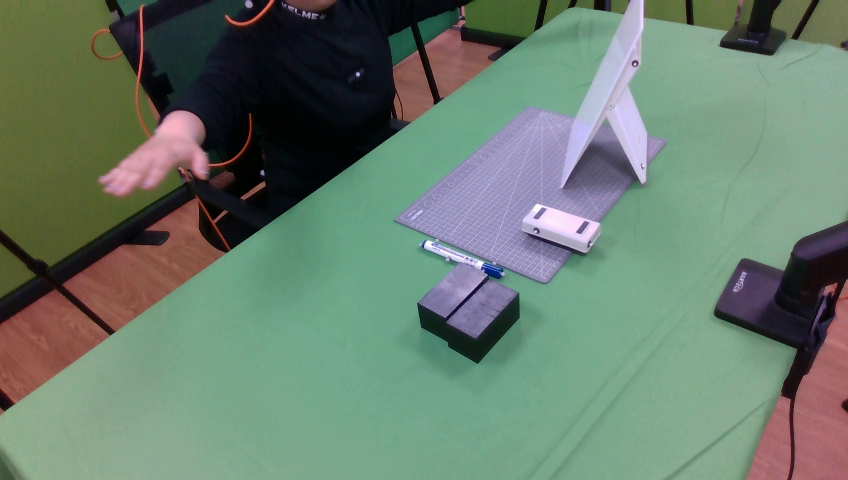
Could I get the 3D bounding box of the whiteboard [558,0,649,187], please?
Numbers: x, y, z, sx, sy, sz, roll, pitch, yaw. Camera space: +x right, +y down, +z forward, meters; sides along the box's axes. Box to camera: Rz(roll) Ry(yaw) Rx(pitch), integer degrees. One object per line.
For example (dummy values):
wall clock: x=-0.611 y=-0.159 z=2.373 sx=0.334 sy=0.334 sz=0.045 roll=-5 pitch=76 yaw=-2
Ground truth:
whiteboard: x=0.361 y=-0.238 z=1.026 sx=0.144 sy=0.306 sz=0.217 roll=20 pitch=44 yaw=3

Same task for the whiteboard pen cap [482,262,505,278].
whiteboard pen cap: x=0.104 y=0.044 z=0.912 sx=0.033 sy=0.018 sz=0.018 roll=22 pitch=48 yaw=29

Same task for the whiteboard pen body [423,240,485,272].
whiteboard pen body: x=0.057 y=0.027 z=0.942 sx=0.139 sy=0.017 sz=0.017 roll=22 pitch=48 yaw=30

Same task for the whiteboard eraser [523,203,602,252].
whiteboard eraser: x=0.215 y=-0.018 z=0.945 sx=0.112 sy=0.042 sz=0.056 roll=20 pitch=46 yaw=29
